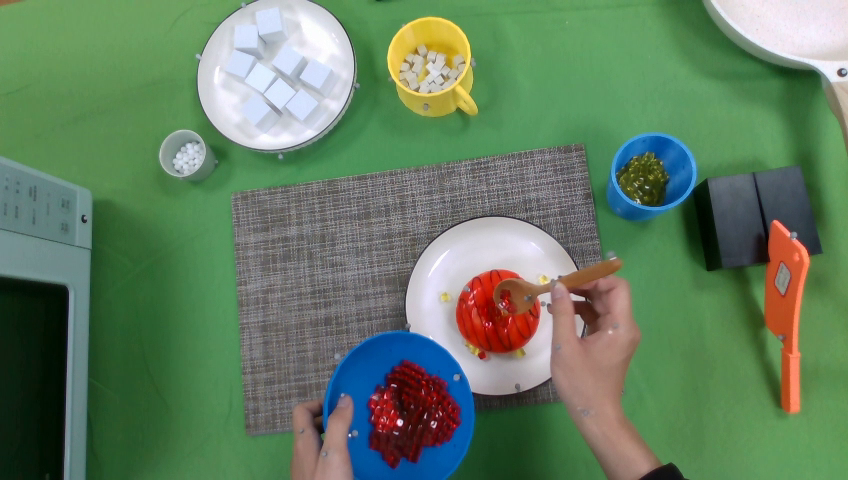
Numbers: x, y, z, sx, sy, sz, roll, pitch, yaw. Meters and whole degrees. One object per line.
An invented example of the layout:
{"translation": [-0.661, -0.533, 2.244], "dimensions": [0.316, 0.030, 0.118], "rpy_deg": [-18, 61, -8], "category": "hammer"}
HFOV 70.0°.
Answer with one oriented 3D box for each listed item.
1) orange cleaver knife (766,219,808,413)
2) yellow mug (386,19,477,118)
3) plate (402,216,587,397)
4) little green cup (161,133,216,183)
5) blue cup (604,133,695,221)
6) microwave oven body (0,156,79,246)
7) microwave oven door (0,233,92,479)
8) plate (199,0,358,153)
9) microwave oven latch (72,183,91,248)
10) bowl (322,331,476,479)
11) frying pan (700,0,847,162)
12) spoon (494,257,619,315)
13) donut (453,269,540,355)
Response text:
{"translation": [0.384, 0.084, 0.649], "dimensions": [0.012, 0.077, 0.212], "rpy_deg": [-8, 109, 6], "category": "orange cleaver knife"}
{"translation": [0.019, -0.198, 0.743], "dimensions": [0.100, 0.064, 0.130], "rpy_deg": [-44, 80, -2], "category": "yellow mug"}
{"translation": [0.081, 0.076, 0.704], "dimensions": [0.209, 0.038, 0.208], "rpy_deg": [-1, 82, 7], "category": "plate"}
{"translation": [-0.300, -0.103, 0.777], "dimensions": [0.061, 0.039, 0.061], "rpy_deg": [-1, 82, 6], "category": "little green cup"}
{"translation": [0.242, -0.062, 0.677], "dimensions": [0.092, 0.100, 0.092], "rpy_deg": [-1, 79, 6], "category": "blue cup"}
{"translation": [-0.590, 0.140, 0.659], "dimensions": [0.326, 0.261, 0.440], "rpy_deg": [-4, 81, 6], "category": "microwave oven body"}
{"translation": [-0.443, 0.170, 0.632], "dimensions": [0.039, 0.245, 0.354], "rpy_deg": [-5, 81, 6], "category": "microwave oven door"}
{"translation": [-0.184, -0.209, 0.782], "dimensions": [0.207, 0.039, 0.207], "rpy_deg": [-1, 81, 7], "category": "plate"}
{"translation": [-0.442, -0.030, 0.766], "dimensions": [0.030, 0.029, 0.079], "rpy_deg": [-2, 82, 6], "category": "microwave oven latch"}
{"translation": [-0.033, 0.172, 0.600], "dimensions": [0.152, 0.077, 0.150], "rpy_deg": [8, 69, -20], "category": "bowl"}
{"translation": [0.456, -0.230, 0.676], "dimensions": [0.306, 0.103, 0.485], "rpy_deg": [-3, 73, 7], "category": "frying pan"}
{"translation": [0.119, 0.045, 0.573], "dimensions": [0.021, 0.193, 0.041], "rpy_deg": [-30, 89, -23], "category": "spoon"}
{"translation": [0.083, 0.082, 0.691], "dimensions": [0.099, 0.048, 0.099], "rpy_deg": [-1, 84, 7], "category": "donut"}
